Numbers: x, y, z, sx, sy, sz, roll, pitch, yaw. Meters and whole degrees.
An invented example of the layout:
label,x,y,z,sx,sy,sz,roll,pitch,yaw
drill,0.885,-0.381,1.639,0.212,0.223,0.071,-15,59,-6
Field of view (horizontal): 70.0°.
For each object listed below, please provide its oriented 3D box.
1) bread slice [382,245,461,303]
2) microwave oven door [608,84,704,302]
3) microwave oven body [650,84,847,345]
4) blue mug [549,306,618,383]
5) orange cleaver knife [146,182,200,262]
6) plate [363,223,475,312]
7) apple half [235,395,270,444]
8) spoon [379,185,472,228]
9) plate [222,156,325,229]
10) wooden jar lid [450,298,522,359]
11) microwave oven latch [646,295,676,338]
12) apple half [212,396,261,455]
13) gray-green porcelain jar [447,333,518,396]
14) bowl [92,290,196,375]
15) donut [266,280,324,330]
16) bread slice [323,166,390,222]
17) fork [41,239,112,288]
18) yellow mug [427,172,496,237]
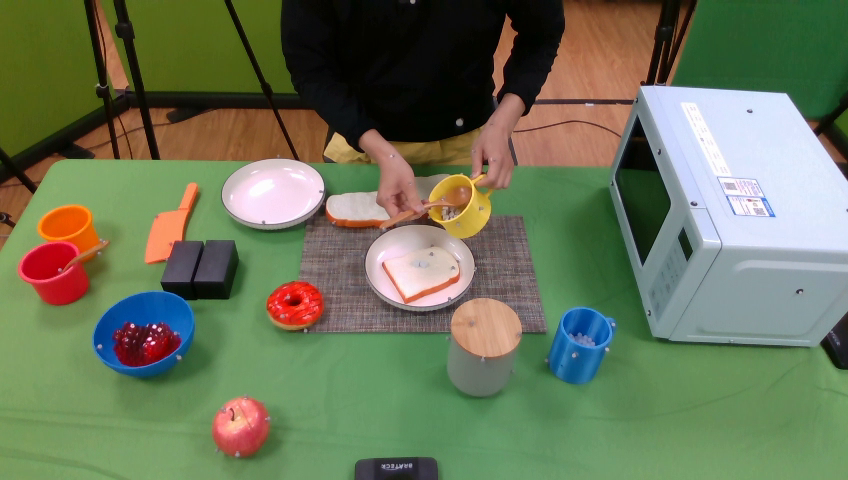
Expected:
label,x,y,z,sx,sy,sz,roll,pitch,yaw
bread slice,0.000,0.054,1.129,0.131,0.019,0.104,-21,51,-20
microwave oven door,0.424,-0.096,1.138,0.039,0.245,0.353,2,47,-1
microwave oven body,0.569,-0.054,1.116,0.326,0.261,0.439,2,46,-1
blue mug,0.269,0.167,0.997,0.116,0.106,0.082,-19,51,-21
orange cleaver knife,-0.494,-0.039,1.198,0.077,0.012,0.210,-4,48,2
plate,-0.009,0.054,1.126,0.208,0.039,0.206,2,46,-2
apple half,-0.245,0.260,0.893,0.033,0.082,0.081,-29,55,-22
spoon,0.004,-0.060,1.069,0.194,0.022,0.041,-20,58,-29
plate,-0.308,-0.094,1.251,0.209,0.038,0.208,2,46,-2
wooden jar lid,0.093,0.135,0.914,0.108,0.021,0.107,2,48,-3
microwave oven latch,0.413,0.133,1.060,0.030,0.029,0.078,4,46,1
apple half,-0.276,0.276,0.877,0.053,0.075,0.080,-29,58,-21
gray-green porcelain jar,0.091,0.178,0.960,0.106,0.127,0.105,2,46,-2
bowl,-0.436,0.161,0.971,0.151,0.077,0.150,2,46,-2
donut,-0.223,0.112,1.051,0.099,0.048,0.098,2,45,-2
bread slice,-0.140,-0.092,1.224,0.134,0.018,0.106,-19,51,6
fork,-0.591,0.040,1.028,0.207,0.019,0.028,-27,37,29
yellow mug,0.075,-0.074,1.098,0.131,0.064,0.099,-41,48,9
